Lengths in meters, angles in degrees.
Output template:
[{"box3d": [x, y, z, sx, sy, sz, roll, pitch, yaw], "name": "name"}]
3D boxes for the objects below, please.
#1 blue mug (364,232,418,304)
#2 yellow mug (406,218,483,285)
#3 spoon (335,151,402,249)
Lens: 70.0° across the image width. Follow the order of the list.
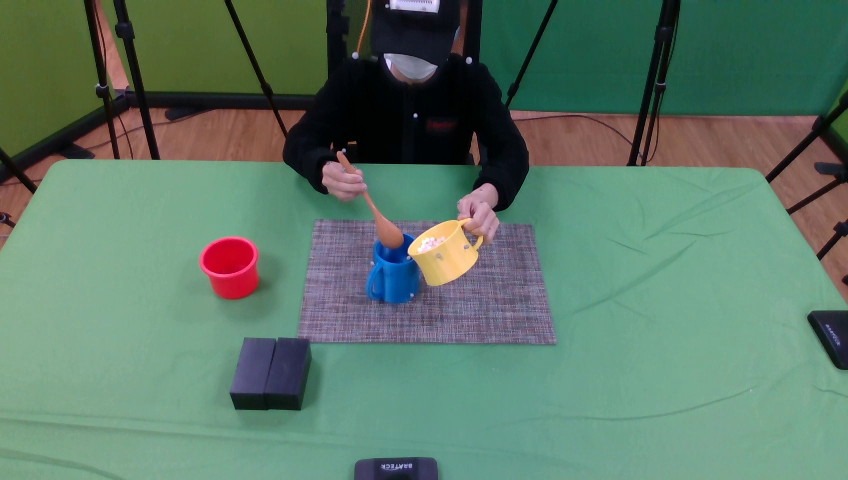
[{"box3d": [-0.062, 0.059, 1.074, 0.082, 0.106, 0.116, 35, 53, 27], "name": "blue mug"}, {"box3d": [0.042, 0.011, 1.000, 0.131, 0.064, 0.099, -34, 18, -11], "name": "yellow mug"}, {"box3d": [-0.096, -0.065, 1.015, 0.041, 0.194, 0.021, -28, 14, 14], "name": "spoon"}]
